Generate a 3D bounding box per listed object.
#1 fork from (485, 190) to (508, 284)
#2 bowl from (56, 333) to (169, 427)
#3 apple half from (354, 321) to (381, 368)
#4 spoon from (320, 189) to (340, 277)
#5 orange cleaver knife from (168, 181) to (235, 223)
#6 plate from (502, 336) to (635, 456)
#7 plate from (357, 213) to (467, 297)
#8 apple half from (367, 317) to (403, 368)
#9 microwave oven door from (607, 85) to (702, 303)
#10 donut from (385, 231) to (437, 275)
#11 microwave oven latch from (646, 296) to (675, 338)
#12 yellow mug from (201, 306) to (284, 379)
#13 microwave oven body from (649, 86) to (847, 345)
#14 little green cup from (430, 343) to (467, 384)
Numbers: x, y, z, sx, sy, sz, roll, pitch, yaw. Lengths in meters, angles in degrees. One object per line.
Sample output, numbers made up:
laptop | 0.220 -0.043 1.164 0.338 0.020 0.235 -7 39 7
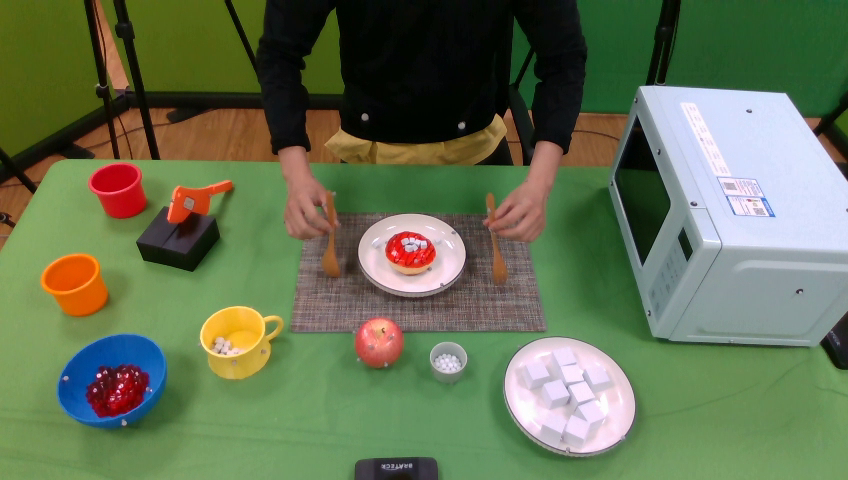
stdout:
fork | 0.127 0.000 1.076 0.028 0.208 0.018 -13 32 0
bowl | -0.456 0.223 0.911 0.151 0.077 0.150 3 46 -2
apple half | -0.097 0.176 0.985 0.033 0.081 0.080 -12 48 -20
spoon | -0.166 -0.009 1.070 0.041 0.194 0.021 21 36 20
orange cleaver knife | -0.436 -0.077 1.196 0.012 0.077 0.211 16 15 10
plate | 0.225 0.248 0.963 0.208 0.039 0.206 2 46 -2
plate | -0.023 0.032 1.150 0.209 0.038 0.208 2 46 -2
apple half | -0.062 0.167 0.998 0.053 0.075 0.080 -11 44 -20
microwave oven door | 0.423 -0.094 1.141 0.039 0.245 0.353 2 46 -1
donut | -0.025 0.023 1.142 0.099 0.048 0.098 3 44 -3
microwave oven latch | 0.412 0.134 1.061 0.030 0.029 0.078 4 45 1
yellow mug | -0.291 0.160 0.993 0.131 0.064 0.099 -23 51 -25
microwave oven body | 0.568 -0.053 1.118 0.326 0.261 0.439 2 45 -1
little green cup | 0.039 0.203 0.994 0.061 0.039 0.061 2 46 -2
